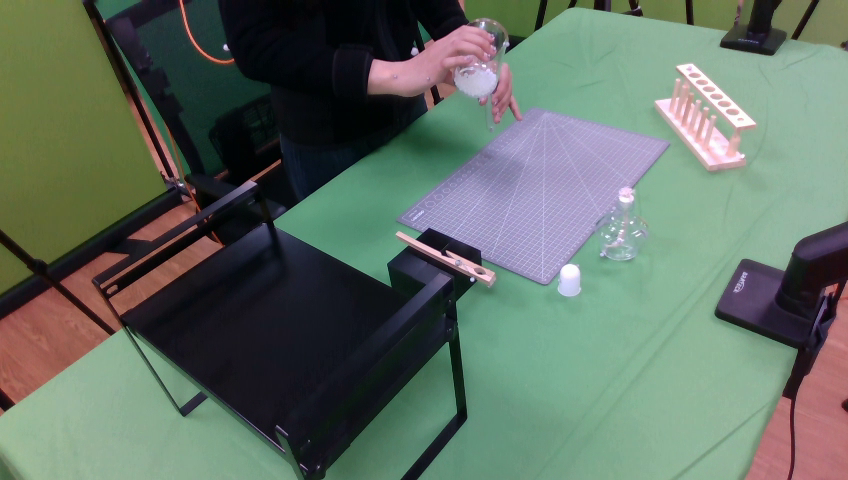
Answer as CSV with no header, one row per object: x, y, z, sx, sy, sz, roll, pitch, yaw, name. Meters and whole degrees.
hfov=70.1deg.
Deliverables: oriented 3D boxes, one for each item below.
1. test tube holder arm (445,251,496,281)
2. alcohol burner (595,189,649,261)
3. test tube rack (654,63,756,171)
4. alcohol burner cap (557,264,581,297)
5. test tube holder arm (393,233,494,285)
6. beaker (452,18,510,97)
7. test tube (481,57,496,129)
0.063,0.036,0.851,0.087,0.015,0.010,23,57,32,test tube holder arm
0.294,-0.028,0.894,0.078,0.119,0.077,-4,43,5,alcohol burner
0.510,-0.233,1.120,0.067,0.085,0.241,-8,41,-1,test tube rack
0.208,0.055,0.866,0.034,0.048,0.033,-4,42,4,alcohol burner cap
0.024,0.025,0.871,0.177,0.015,0.013,22,56,31,test tube holder arm
0.086,-0.276,0.930,0.074,0.084,0.100,10,59,10,beaker
0.112,-0.250,1.045,0.017,0.151,0.017,-5,53,7,test tube
